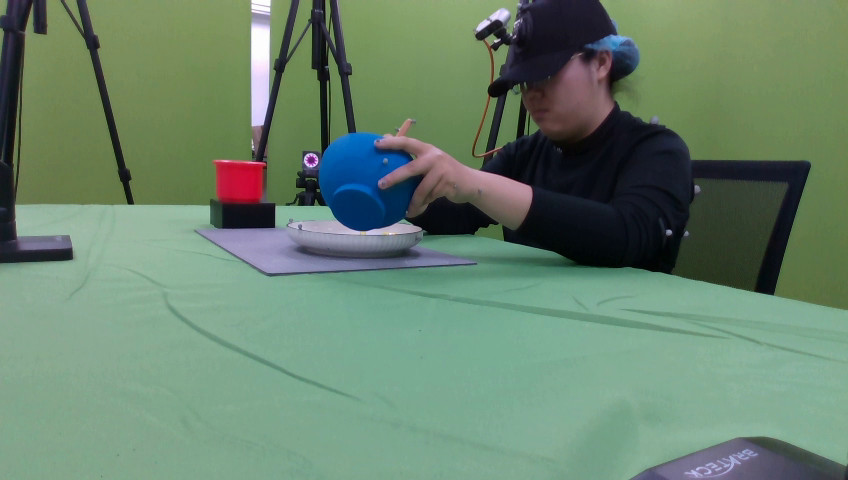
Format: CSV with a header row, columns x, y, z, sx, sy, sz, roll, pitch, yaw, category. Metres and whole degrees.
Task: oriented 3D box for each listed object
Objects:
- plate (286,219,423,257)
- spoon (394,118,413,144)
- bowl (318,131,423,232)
x,y,z,sx,sy,sz,roll,pitch,yaw,category
-0.105,-0.003,0.922,0.208,0.039,0.207,3,7,0,plate
-0.062,-0.122,0.904,0.041,0.022,0.194,-1,41,36,spoon
-0.082,-0.064,0.827,0.151,0.151,0.077,4,43,12,bowl
